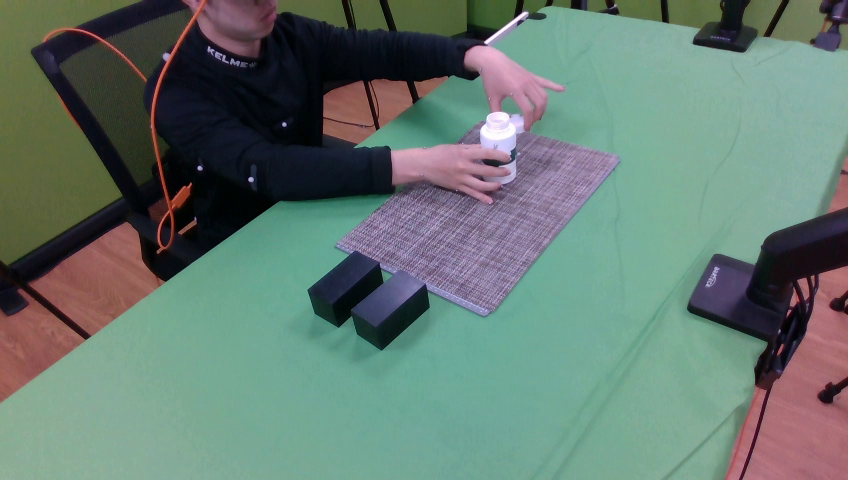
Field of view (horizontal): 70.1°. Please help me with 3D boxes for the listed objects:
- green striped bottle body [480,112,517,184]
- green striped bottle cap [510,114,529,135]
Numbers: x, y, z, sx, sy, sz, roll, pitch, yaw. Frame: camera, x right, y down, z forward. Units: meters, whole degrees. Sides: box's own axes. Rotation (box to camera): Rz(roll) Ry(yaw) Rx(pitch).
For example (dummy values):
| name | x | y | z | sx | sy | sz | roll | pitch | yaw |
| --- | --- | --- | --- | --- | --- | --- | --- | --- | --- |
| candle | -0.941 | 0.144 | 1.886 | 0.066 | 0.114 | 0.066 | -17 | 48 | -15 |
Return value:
| name | x | y | z | sx | sy | sz | roll | pitch | yaw |
| --- | --- | --- | --- | --- | --- | --- | --- | --- | --- |
| green striped bottle body | 0.131 | -0.162 | 1.057 | 0.063 | 0.120 | 0.063 | -4 | 41 | 4 |
| green striped bottle cap | 0.173 | -0.215 | 1.124 | 0.044 | 0.020 | 0.044 | -7 | 47 | 8 |
